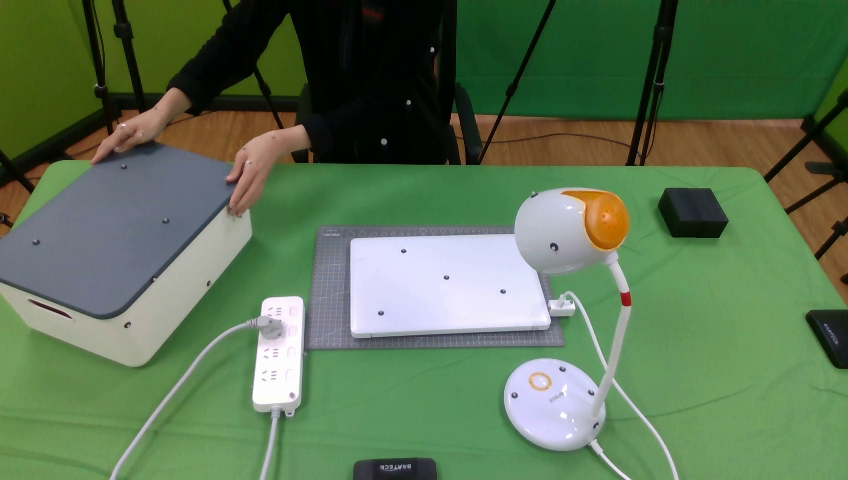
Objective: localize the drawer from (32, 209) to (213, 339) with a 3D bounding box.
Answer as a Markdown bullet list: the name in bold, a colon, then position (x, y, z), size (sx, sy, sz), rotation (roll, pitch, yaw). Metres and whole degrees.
- **drawer**: position (-0.509, 0.054, 1.045), size (0.194, 0.073, 0.211), rotation (15, 43, 10)

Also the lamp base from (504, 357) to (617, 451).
- **lamp base**: position (0.220, 0.211, 0.903), size (0.160, 0.181, 0.178), rotation (-33, 59, -30)

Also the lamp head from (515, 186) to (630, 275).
- **lamp head**: position (0.188, -0.013, 0.728), size (0.112, 0.112, 0.122), rotation (-25, 9, -25)

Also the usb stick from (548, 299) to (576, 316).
- **usb stick**: position (0.239, 0.121, 1.083), size (0.059, 0.027, 0.021), rotation (-1, 50, -2)

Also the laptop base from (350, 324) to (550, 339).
- **laptop base**: position (0.039, 0.081, 1.124), size (0.355, 0.023, 0.234), rotation (-2, 43, -6)

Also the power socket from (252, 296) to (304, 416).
- **power socket**: position (-0.238, 0.182, 0.997), size (0.072, 0.033, 0.225), rotation (-3, 47, -5)

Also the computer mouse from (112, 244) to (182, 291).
- **computer mouse**: position (-0.493, 0.046, 1.078), size (0.117, 0.041, 0.062), rotation (24, 42, 13)

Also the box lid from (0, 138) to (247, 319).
- **box lid**: position (-0.494, -0.037, 0.994), size (0.263, 0.015, 0.370), rotation (17, 46, 12)

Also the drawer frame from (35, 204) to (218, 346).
- **drawer frame**: position (-0.505, 0.054, 1.052), size (0.201, 0.083, 0.212), rotation (14, 52, 12)

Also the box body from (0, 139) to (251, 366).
- **box body**: position (-0.496, 0.013, 1.048), size (0.254, 0.161, 0.362), rotation (17, 47, 12)

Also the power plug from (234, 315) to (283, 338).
- **power plug**: position (-0.270, 0.143, 0.999), size (0.072, 0.053, 0.035), rotation (5, 47, 2)

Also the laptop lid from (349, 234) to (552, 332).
- **laptop lid**: position (0.040, 0.071, 1.117), size (0.357, 0.013, 0.240), rotation (0, 44, -5)
